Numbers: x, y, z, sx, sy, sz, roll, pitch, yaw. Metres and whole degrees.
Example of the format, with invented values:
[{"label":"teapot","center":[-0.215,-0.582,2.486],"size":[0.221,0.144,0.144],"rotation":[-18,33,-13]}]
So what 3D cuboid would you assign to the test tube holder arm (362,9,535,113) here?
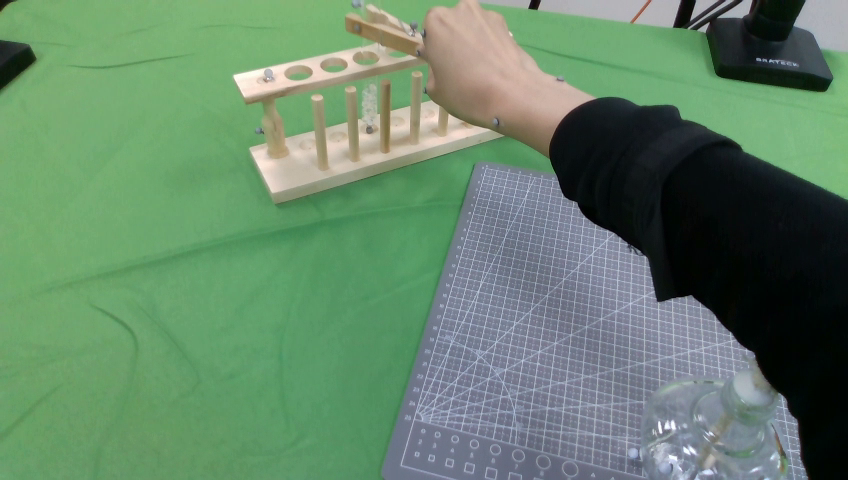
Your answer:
[{"label":"test tube holder arm","center":[0.013,-0.138,0.457],"size":[0.177,0.015,0.013],"rotation":[36,60,29]}]

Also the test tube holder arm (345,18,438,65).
[{"label":"test tube holder arm","center":[-0.024,-0.156,0.474],"size":[0.087,0.015,0.010],"rotation":[24,54,22]}]

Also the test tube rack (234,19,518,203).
[{"label":"test tube rack","center":[-0.031,-0.118,0.533],"size":[0.243,0.086,0.066],"rotation":[-19,52,-19]}]

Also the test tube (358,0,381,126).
[{"label":"test tube","center":[-0.045,-0.158,0.502],"size":[0.017,0.151,0.017],"rotation":[4,46,-4]}]

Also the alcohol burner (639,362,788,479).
[{"label":"alcohol burner","center":[0.159,0.098,0.323],"size":[0.078,0.120,0.077],"rotation":[1,49,0]}]
